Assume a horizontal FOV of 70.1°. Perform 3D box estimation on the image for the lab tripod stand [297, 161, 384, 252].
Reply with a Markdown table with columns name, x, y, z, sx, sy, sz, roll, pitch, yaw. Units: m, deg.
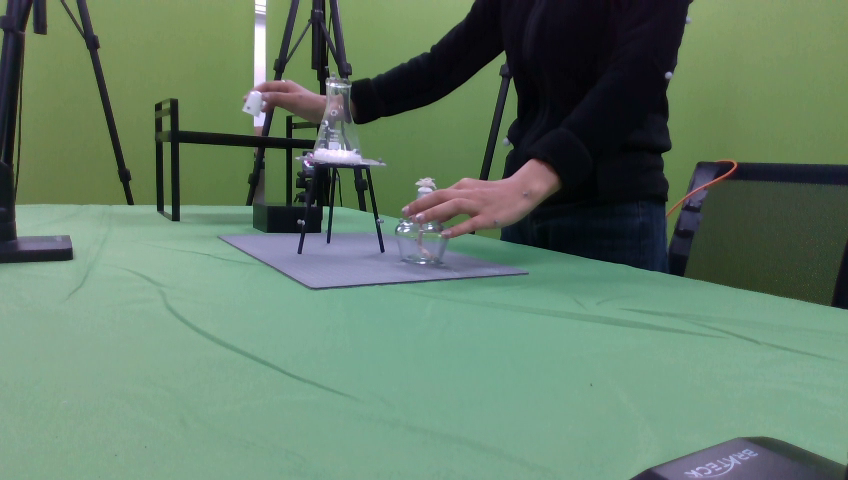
| name | x | y | z | sx | sy | sz | roll | pitch | yaw |
| --- | --- | --- | --- | --- | --- | --- | --- | --- | --- |
| lab tripod stand | -0.130 | -0.051 | 0.903 | 0.148 | 0.131 | 0.148 | 3 | 9 | 0 |

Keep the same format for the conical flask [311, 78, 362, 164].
| name | x | y | z | sx | sy | sz | roll | pitch | yaw |
| --- | --- | --- | --- | --- | --- | --- | --- | --- | --- |
| conical flask | -0.128 | -0.174 | 0.890 | 0.075 | 0.122 | 0.075 | 3 | 8 | 0 |

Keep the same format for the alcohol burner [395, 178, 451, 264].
| name | x | y | z | sx | sy | sz | roll | pitch | yaw |
| --- | --- | --- | --- | --- | --- | --- | --- | --- | --- |
| alcohol burner | 0.000 | -0.026 | 0.835 | 0.078 | 0.119 | 0.078 | 5 | 6 | 0 |

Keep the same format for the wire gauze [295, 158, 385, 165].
| name | x | y | z | sx | sy | sz | roll | pitch | yaw |
| --- | --- | --- | --- | --- | --- | --- | --- | --- | --- |
| wire gauze | -0.128 | -0.117 | 0.901 | 0.125 | 0.011 | 0.121 | -2 | 8 | -14 |

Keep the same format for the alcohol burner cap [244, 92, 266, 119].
| name | x | y | z | sx | sy | sz | roll | pitch | yaw |
| --- | --- | --- | --- | --- | --- | --- | --- | --- | --- |
| alcohol burner cap | -0.314 | -0.253 | 1.130 | 0.034 | 0.048 | 0.034 | 20 | 5 | -1 |
